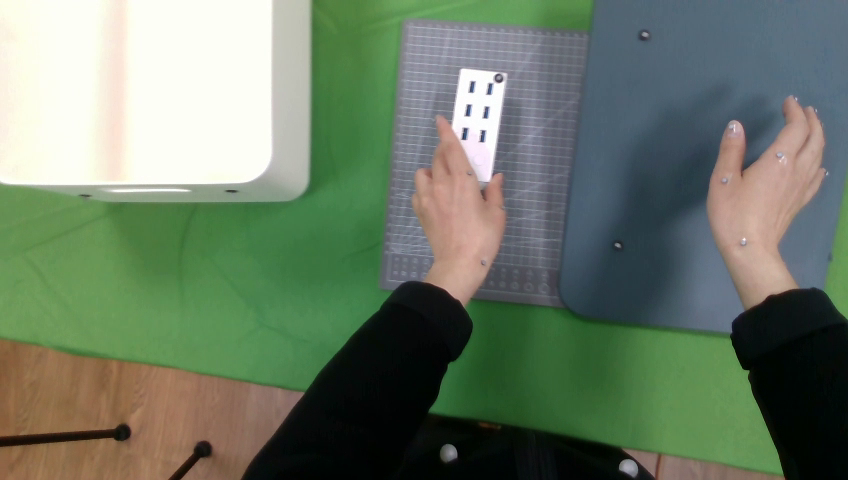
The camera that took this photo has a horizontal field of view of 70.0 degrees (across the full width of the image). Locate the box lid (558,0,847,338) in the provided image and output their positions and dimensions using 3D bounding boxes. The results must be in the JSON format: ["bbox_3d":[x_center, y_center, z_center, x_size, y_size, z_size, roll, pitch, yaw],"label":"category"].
[{"bbox_3d":[0.284,-0.090,0.599,0.263,0.015,0.372,6,99,4],"label":"box lid"}]

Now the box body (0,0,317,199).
[{"bbox_3d":[-0.244,-0.223,0.605,0.254,0.161,0.363,0,86,3],"label":"box body"}]

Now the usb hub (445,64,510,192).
[{"bbox_3d":[0.055,-0.113,0.614,0.049,0.025,0.125,9,85,6],"label":"usb hub"}]
